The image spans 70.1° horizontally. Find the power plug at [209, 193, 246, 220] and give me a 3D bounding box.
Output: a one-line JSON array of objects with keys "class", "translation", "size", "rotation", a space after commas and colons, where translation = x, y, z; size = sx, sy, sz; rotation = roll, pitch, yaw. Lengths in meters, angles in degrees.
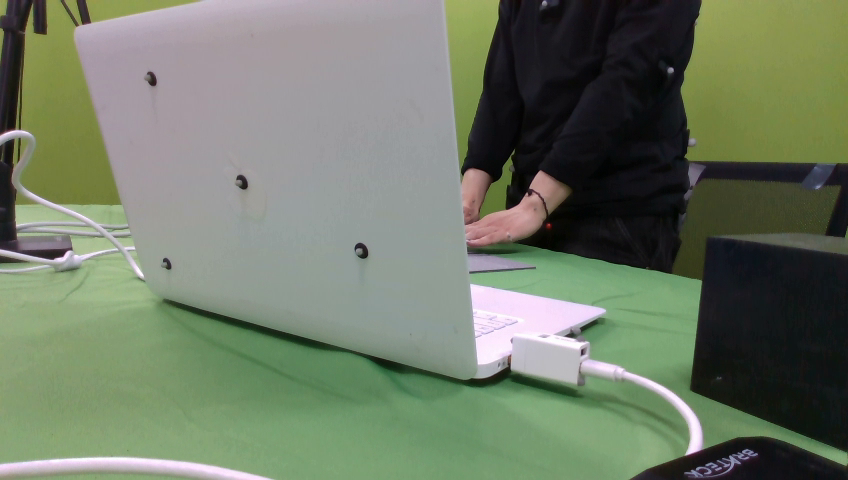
[{"class": "power plug", "translation": [-0.388, -0.067, 1.205], "size": [0.072, 0.052, 0.035], "rotation": [3, 8, 26]}]

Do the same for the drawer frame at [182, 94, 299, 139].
[{"class": "drawer frame", "translation": [-0.418, -0.276, 1.371], "size": [0.203, 0.082, 0.212], "rotation": [-4, 9, -36]}]

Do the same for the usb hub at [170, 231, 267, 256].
[{"class": "usb hub", "translation": [-0.290, 0.004, 0.862], "size": [0.049, 0.025, 0.126], "rotation": [10, 11, 42]}]

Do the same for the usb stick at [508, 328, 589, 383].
[{"class": "usb stick", "translation": [0.072, 0.072, 0.383], "size": [0.059, 0.027, 0.021], "rotation": [2, 2, 34]}]

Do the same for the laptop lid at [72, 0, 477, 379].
[{"class": "laptop lid", "translation": [-0.125, -0.042, 0.418], "size": [0.355, 0.241, 0.013], "rotation": [9, 25, 34]}]

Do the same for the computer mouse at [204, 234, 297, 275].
[{"class": "computer mouse", "translation": [-0.212, 0.016, 0.747], "size": [0.062, 0.041, 0.117], "rotation": [7, 12, 22]}]

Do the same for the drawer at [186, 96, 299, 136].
[{"class": "drawer", "translation": [-0.415, -0.276, 1.370], "size": [0.195, 0.073, 0.210], "rotation": [-4, 9, -35]}]

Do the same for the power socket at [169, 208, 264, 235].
[{"class": "power socket", "translation": [-0.381, -0.038, 1.129], "size": [0.072, 0.032, 0.227], "rotation": [4, 8, 16]}]

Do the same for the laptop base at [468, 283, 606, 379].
[{"class": "laptop base", "translation": [-0.042, 0.058, 0.554], "size": [0.352, 0.023, 0.237], "rotation": [8, 7, 35]}]
